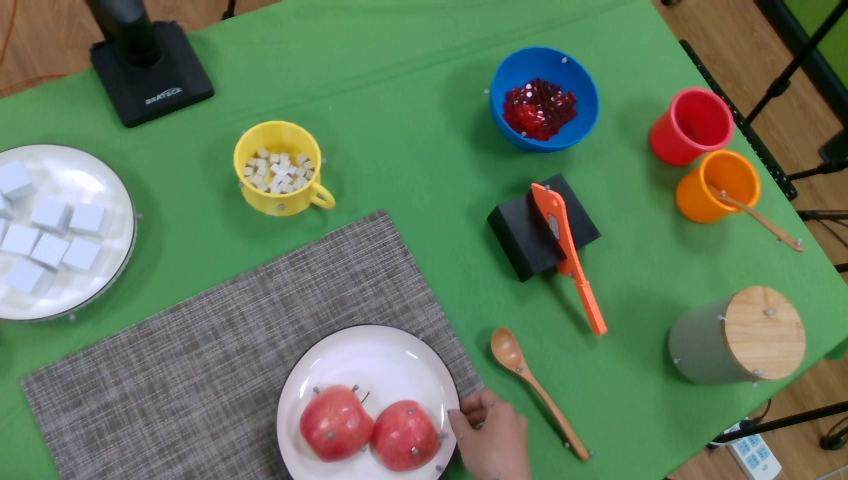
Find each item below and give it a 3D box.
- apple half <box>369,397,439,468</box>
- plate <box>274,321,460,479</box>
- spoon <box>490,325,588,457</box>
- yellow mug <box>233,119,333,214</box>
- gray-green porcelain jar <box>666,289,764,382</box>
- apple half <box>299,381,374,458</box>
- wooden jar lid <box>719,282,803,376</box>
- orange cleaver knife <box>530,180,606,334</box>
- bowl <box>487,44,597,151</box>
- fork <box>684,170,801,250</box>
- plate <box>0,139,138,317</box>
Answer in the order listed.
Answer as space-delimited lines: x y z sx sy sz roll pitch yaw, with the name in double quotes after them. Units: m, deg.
-0.022 0.220 0.688 0.081 0.033 0.081 3 70 -7 "apple half"
-0.064 0.198 0.693 0.210 0.038 0.208 3 73 -10 "plate"
0.142 0.187 0.749 0.041 0.022 0.193 -32 81 -39 "spoon"
-0.167 -0.081 0.745 0.131 0.064 0.099 33 70 -1 "yellow mug"
0.376 0.122 0.759 0.106 0.127 0.105 3 72 -10 "gray-green porcelain jar"
-0.098 0.199 0.670 0.075 0.053 0.080 -30 81 -15 "apple half"
0.386 0.103 0.701 0.109 0.021 0.108 3 75 -12 "wooden jar lid"
0.182 0.022 0.774 0.012 0.077 0.212 -26 103 -13 "orange cleaver knife"
0.150 -0.182 0.831 0.152 0.077 0.150 3 73 -10 "bowl"
0.418 -0.044 0.805 0.028 0.019 0.205 -11 32 -14 "fork"
-0.433 -0.013 0.688 0.208 0.039 0.206 3 73 -10 "plate"
